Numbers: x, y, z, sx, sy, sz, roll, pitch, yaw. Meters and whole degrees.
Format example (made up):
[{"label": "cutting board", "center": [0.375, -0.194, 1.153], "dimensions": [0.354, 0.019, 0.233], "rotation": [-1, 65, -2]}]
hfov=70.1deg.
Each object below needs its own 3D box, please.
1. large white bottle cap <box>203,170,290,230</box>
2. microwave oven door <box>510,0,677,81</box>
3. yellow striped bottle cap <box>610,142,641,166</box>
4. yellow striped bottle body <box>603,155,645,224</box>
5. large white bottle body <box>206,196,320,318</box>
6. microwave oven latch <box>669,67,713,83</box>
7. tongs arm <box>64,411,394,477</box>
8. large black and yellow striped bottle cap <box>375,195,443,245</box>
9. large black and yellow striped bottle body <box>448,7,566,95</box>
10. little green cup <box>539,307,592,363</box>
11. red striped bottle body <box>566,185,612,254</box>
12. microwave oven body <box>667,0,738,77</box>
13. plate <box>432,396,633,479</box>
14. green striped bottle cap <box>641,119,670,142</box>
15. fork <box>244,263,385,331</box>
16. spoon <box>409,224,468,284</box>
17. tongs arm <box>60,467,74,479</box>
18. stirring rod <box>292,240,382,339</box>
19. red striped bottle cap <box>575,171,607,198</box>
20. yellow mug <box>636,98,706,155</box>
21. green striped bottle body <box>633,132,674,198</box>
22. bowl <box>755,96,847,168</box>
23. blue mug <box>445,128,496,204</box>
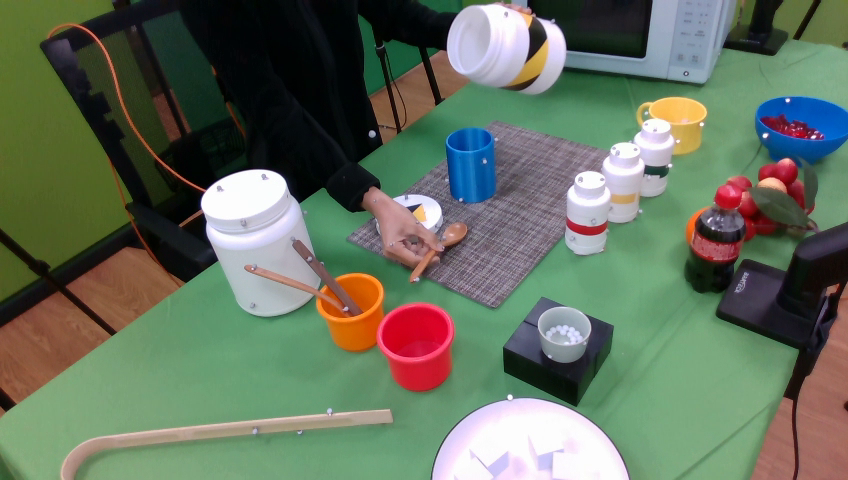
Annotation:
[{"label": "large white bottle cap", "center": [-0.241, -0.057, 0.822], "dimensions": [0.115, 0.018, 0.114], "rotation": [-4, 41, 4]}, {"label": "microwave oven door", "center": [0.353, -0.478, 1.290], "dimensions": [0.353, 0.245, 0.039], "rotation": [15, 45, 25]}, {"label": "yellow striped bottle cap", "center": [0.308, -0.131, 0.925], "dimensions": [0.044, 0.019, 0.044], "rotation": [-4, 45, 5]}, {"label": "yellow striped bottle body", "center": [0.314, -0.090, 0.957], "dimensions": [0.063, 0.121, 0.062], "rotation": [-4, 40, 4]}, {"label": "large white bottle body", "center": [-0.233, 0.008, 0.876], "dimensions": [0.130, 0.185, 0.130], "rotation": [-4, 40, 4]}, {"label": "microwave oven latch", "center": [0.556, -0.348, 1.262], "dimensions": [0.078, 0.029, 0.030], "rotation": [15, 46, 26]}, {"label": "tongs arm", "center": [-0.228, 0.241, 0.715], "dimensions": [0.385, 0.026, 0.050], "rotation": [-5, 43, 4]}, {"label": "large black and yellow striped bottle cap", "center": [-0.026, -0.036, 1.022], "dimensions": [0.115, 0.019, 0.114], "rotation": [-4, 41, 4]}, {"label": "large black and yellow striped bottle body", "center": [0.144, -0.329, 1.055], "dimensions": [0.185, 0.131, 0.129], "rotation": [-3, 30, -40]}, {"label": "little green cup", "center": [0.168, 0.115, 0.721], "dimensions": [0.061, 0.039, 0.061], "rotation": [-4, 42, 4]}, {"label": "red striped bottle body", "center": [0.248, -0.041, 0.910], "dimensions": [0.063, 0.120, 0.062], "rotation": [-4, 41, 4]}, {"label": "microwave oven body", "center": [0.462, -0.552, 1.369], "dimensions": [0.439, 0.261, 0.326], "rotation": [15, 45, 26]}, {"label": "plate", "center": [0.112, 0.261, 0.634], "dimensions": [0.209, 0.038, 0.208], "rotation": [-5, 40, 4]}, {"label": "green striped bottle cap", "center": [0.371, -0.175, 0.968], "dimensions": [0.044, 0.020, 0.044], "rotation": [-5, 42, 5]}, {"label": "fork", "center": [-0.141, 0.077, 0.807], "dimensions": [0.209, 0.018, 0.028], "rotation": [30, 44, -24]}, {"label": "spoon", "center": [0.020, 0.018, 0.915], "dimensions": [0.041, 0.022, 0.194], "rotation": [2, 22, 26]}, {"label": "tongs arm", "center": [-0.239, 0.301, 0.648], "dimensions": [0.386, 0.028, 0.028], "rotation": [6, 49, 16]}, {"label": "stirring rod", "center": [-0.119, 0.068, 0.826], "dimensions": [0.176, 0.006, 0.014], "rotation": [49, 59, -4]}, {"label": "red striped bottle cap", "center": [0.242, -0.082, 0.876], "dimensions": [0.044, 0.018, 0.044], "rotation": [-5, 44, 5]}, {"label": "yellow mug", "center": [0.453, -0.217, 1.128], "dimensions": [0.100, 0.064, 0.129], "rotation": [-34, 46, -27]}, {"label": "green striped bottle body", "center": [0.376, -0.135, 1.001], "dimensions": [0.063, 0.120, 0.063], "rotation": [-5, 40, 5]}, {"label": "bowl", "center": [0.645, -0.177, 1.041], "dimensions": [0.151, 0.077, 0.150], "rotation": [-5, 40, 4]}, {"label": "blue mug", "center": [0.083, -0.139, 1.058], "dimensions": [0.082, 0.106, 0.116], "rotation": [-2, 40, 6]}]
